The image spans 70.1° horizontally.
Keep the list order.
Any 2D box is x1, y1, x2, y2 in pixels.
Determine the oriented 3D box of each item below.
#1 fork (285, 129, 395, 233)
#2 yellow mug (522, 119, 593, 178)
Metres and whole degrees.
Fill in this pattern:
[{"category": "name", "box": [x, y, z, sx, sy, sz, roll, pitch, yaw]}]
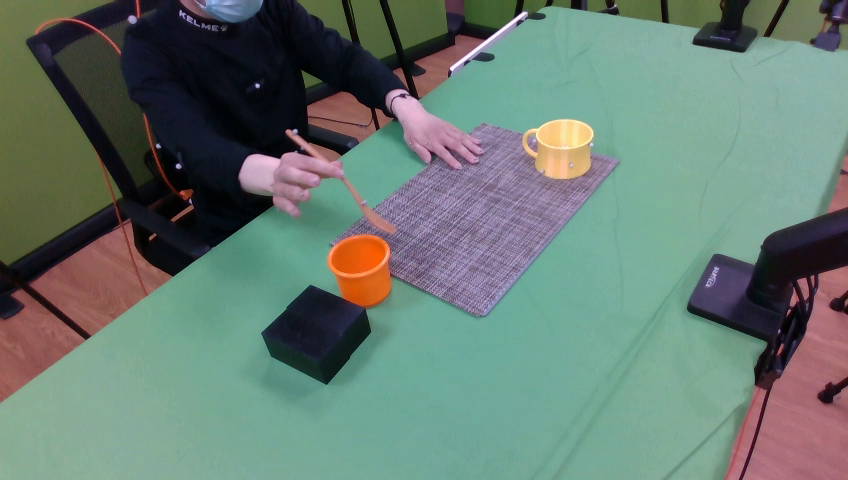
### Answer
[{"category": "fork", "box": [-0.116, -0.081, 0.853, 0.018, 0.208, 0.028, -35, 17, 27]}, {"category": "yellow mug", "box": [0.237, -0.170, 1.092, 0.130, 0.064, 0.100, 17, 47, 27]}]
